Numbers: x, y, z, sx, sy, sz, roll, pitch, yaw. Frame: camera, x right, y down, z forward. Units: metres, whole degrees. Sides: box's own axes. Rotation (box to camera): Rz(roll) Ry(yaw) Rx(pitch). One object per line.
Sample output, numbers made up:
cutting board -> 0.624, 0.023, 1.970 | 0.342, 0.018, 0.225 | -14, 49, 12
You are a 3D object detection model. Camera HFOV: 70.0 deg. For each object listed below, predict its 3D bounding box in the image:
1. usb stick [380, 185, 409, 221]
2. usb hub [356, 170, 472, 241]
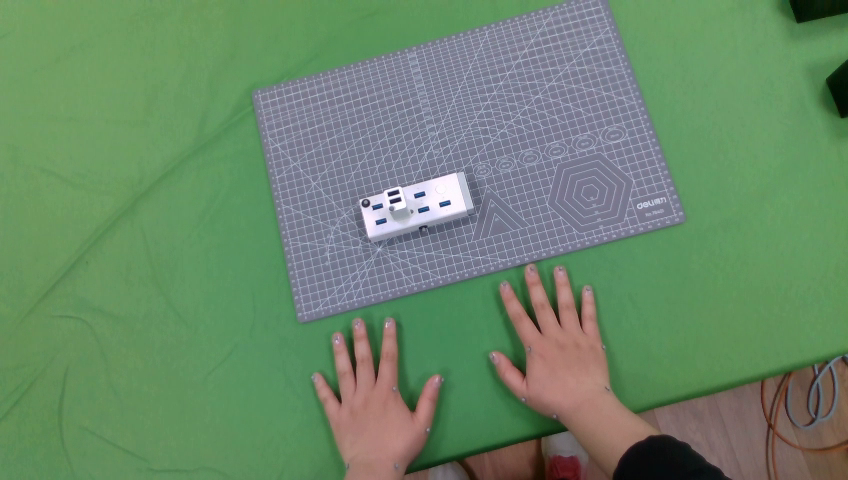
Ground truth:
usb stick -> -0.031, -0.038, 0.664 | 0.021, 0.059, 0.027 | -19, 74, 2
usb hub -> -0.012, -0.040, 0.692 | 0.125, 0.025, 0.049 | -15, 76, 2
